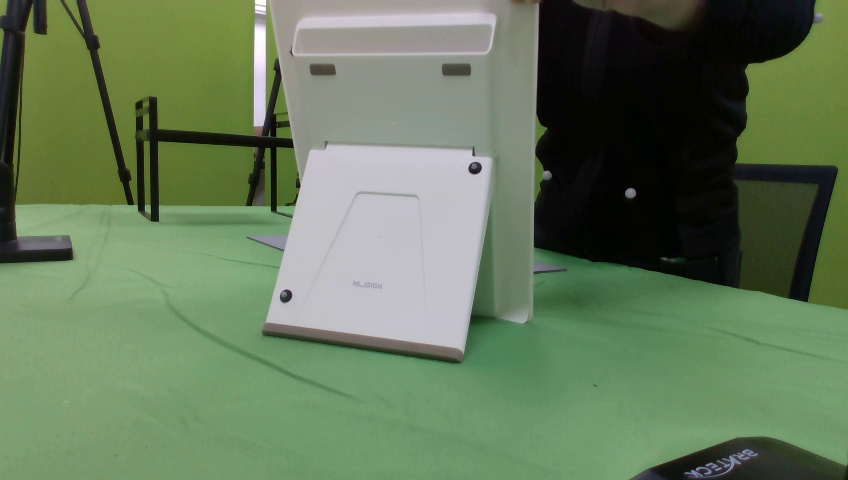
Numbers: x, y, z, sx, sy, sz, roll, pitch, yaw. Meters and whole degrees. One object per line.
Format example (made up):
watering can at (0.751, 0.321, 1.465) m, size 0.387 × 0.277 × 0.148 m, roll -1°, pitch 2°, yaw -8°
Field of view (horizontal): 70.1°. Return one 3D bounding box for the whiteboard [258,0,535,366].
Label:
whiteboard at (-0.037, -0.041, 0.456) m, size 0.216 × 0.305 × 0.144 m, roll 5°, pitch 27°, yaw 19°

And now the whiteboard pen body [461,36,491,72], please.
whiteboard pen body at (0.046, -0.164, 0.536) m, size 0.017 × 0.017 × 0.141 m, roll 4°, pitch 26°, yaw 10°

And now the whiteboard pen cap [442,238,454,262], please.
whiteboard pen cap at (0.033, 0.014, 0.851) m, size 0.018 × 0.033 × 0.018 m, roll 3°, pitch 4°, yaw 0°
